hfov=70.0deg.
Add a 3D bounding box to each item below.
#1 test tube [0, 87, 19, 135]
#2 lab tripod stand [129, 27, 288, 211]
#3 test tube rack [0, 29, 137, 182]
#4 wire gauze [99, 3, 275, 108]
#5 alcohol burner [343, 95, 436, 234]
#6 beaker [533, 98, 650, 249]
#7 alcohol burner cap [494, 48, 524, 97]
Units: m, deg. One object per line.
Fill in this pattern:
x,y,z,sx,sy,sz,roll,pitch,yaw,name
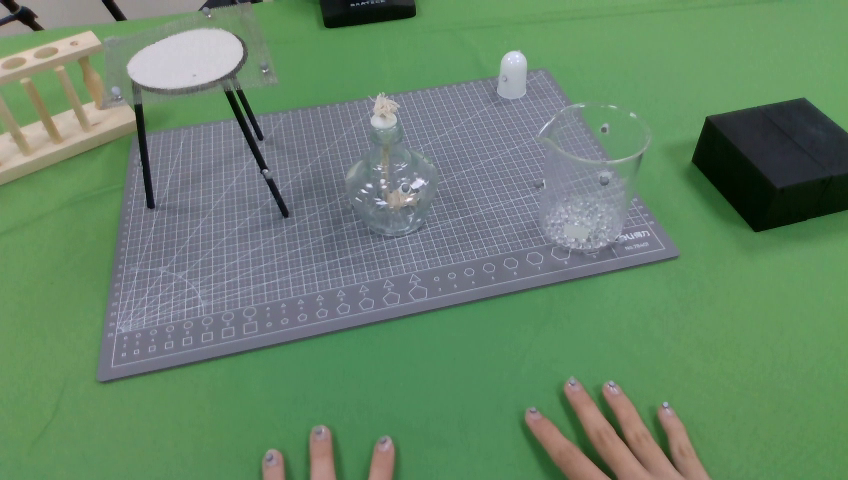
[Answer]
-0.409,-0.164,0.555,0.017,0.151,0.017,0,40,0,test tube
-0.183,-0.097,0.514,0.148,0.133,0.147,-1,49,2,lab tripod stand
-0.412,-0.111,0.573,0.242,0.086,0.066,-30,53,-23,test tube rack
-0.186,-0.143,0.465,0.125,0.011,0.120,-16,48,-11,wire gauze
-0.029,-0.063,0.489,0.078,0.120,0.077,-2,45,2,alcohol burner
0.125,-0.049,0.479,0.084,0.101,0.073,3,47,7,beaker
0.091,-0.180,0.642,0.034,0.048,0.033,-1,47,2,alcohol burner cap
